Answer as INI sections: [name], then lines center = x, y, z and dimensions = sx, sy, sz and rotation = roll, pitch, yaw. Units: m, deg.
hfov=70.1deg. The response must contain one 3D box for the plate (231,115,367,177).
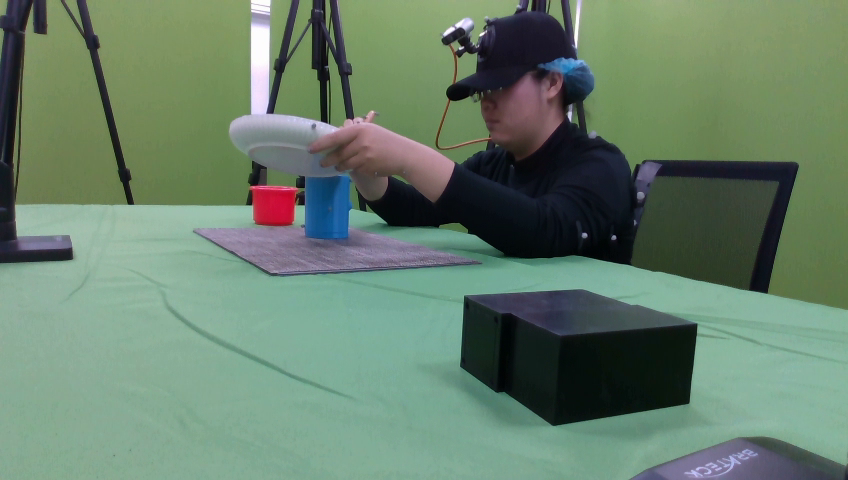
[plate]
center = -0.195, -0.137, 0.940
dimensions = 0.208, 0.039, 0.208
rotation = 6, -10, 1

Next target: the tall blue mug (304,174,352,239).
[tall blue mug]
center = -0.178, -0.062, 1.062
dimensions = 0.078, 0.108, 0.106
rotation = -4, 10, -38

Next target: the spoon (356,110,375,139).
[spoon]
center = -0.113, -0.178, 1.024
dimensions = 0.041, 0.021, 0.193
rotation = 1, 32, 12
